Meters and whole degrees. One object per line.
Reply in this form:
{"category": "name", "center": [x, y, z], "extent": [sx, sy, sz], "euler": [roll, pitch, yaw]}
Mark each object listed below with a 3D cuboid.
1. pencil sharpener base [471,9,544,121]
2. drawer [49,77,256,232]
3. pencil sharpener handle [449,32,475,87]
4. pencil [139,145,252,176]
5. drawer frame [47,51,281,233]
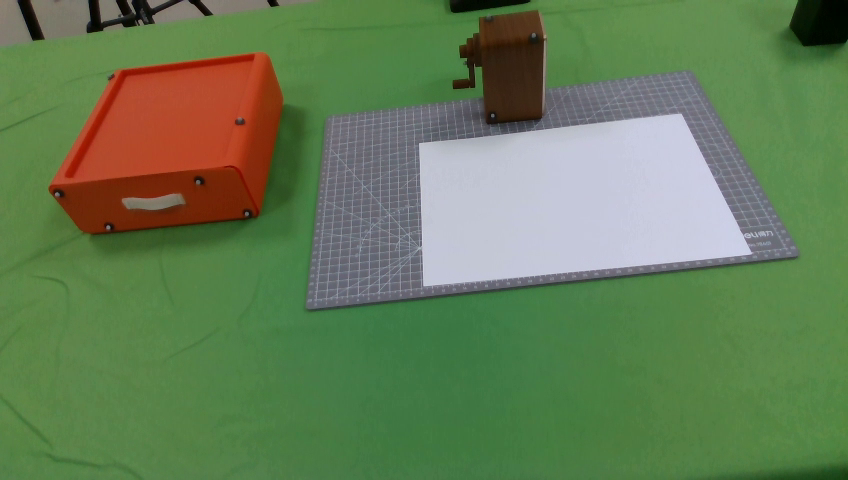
{"category": "pencil sharpener base", "center": [0.093, -0.195, 0.686], "extent": [0.076, 0.108, 0.061], "euler": [-5, 49, 5]}
{"category": "drawer", "center": [-0.281, -0.113, 0.693], "extent": [0.194, 0.074, 0.209], "euler": [-6, 47, 4]}
{"category": "pencil sharpener handle", "center": [0.041, -0.200, 0.683], "extent": [0.030, 0.068, 0.035], "euler": [-5, 54, 6]}
{"category": "pencil", "center": [-0.276, -0.097, 0.717], "extent": [0.193, 0.012, 0.012], "euler": [15, 53, 27]}
{"category": "drawer frame", "center": [-0.282, -0.115, 0.693], "extent": [0.201, 0.083, 0.211], "euler": [-7, 48, 4]}
